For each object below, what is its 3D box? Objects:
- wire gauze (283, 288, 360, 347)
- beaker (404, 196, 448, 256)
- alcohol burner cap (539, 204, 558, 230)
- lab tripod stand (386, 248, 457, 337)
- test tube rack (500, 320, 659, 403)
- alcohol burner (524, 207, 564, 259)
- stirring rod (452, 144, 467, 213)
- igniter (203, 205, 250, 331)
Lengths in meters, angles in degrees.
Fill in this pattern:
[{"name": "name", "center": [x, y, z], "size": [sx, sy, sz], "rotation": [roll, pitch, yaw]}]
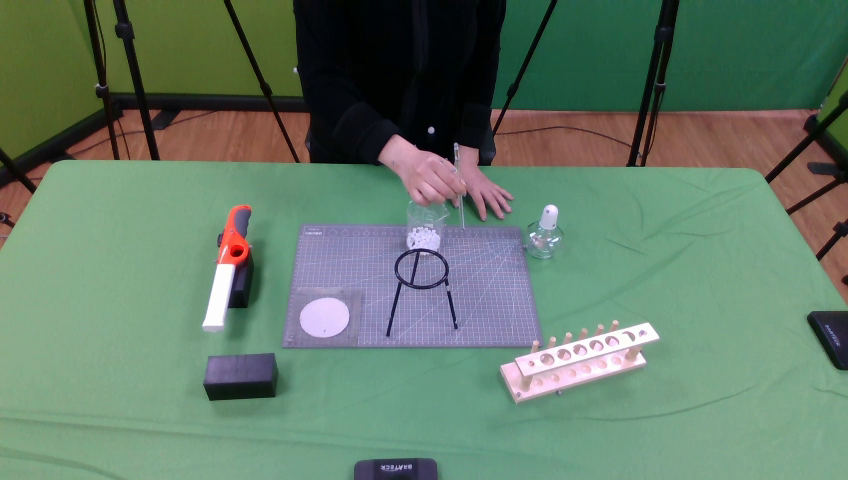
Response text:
[{"name": "wire gauze", "center": [-0.178, 0.132, 1.063], "size": [0.125, 0.011, 0.120], "rotation": [2, 46, 1]}, {"name": "beaker", "center": [0.001, -0.024, 1.164], "size": [0.084, 0.101, 0.073], "rotation": [6, 46, 0]}, {"name": "alcohol burner cap", "center": [0.238, -0.045, 1.148], "size": [0.034, 0.048, 0.033], "rotation": [2, 43, -1]}, {"name": "lab tripod stand", "center": [-0.010, 0.087, 1.032], "size": [0.148, 0.132, 0.147], "rotation": [1, 45, -1]}, {"name": "test tube rack", "center": [0.252, 0.187, 0.994], "size": [0.243, 0.085, 0.066], "rotation": [-12, 48, -15]}, {"name": "alcohol burner", "center": [0.236, -0.020, 1.174], "size": [0.078, 0.120, 0.077], "rotation": [1, 48, -1]}, {"name": "stirring rod", "center": [0.056, -0.092, 0.951], "size": [0.014, 0.177, 0.006], "rotation": [-8, 59, 3]}, {"name": "igniter", "center": [-0.345, 0.039, 1.065], "size": [0.057, 0.025, 0.274], "rotation": [2, 48, -6]}]
